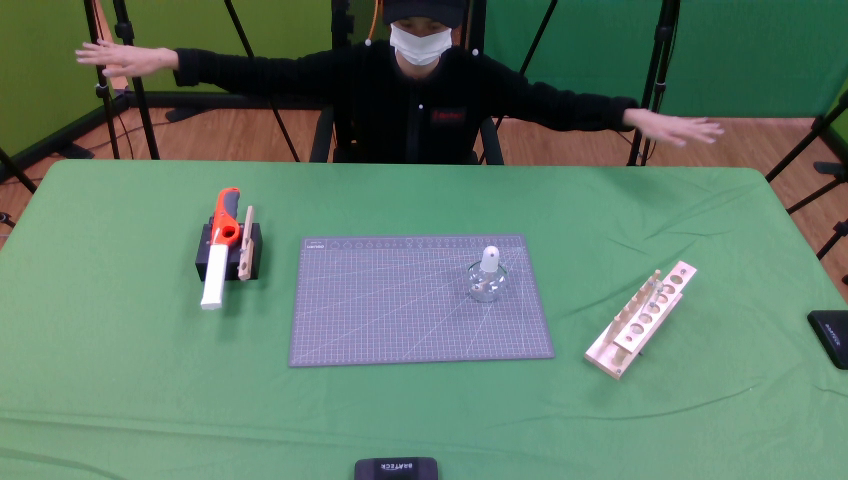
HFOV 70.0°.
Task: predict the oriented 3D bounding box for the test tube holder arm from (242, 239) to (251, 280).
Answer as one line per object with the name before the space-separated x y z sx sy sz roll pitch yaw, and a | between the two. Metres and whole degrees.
test tube holder arm | -0.314 0.034 1.077 0.010 0.015 0.087 -6 47 -6

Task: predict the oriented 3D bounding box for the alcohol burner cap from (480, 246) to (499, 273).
alcohol burner cap | 0.117 0.032 1.060 0.034 0.048 0.033 3 42 -3

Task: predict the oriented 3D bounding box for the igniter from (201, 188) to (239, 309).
igniter | -0.367 0.006 1.095 0.057 0.025 0.274 -2 49 -6

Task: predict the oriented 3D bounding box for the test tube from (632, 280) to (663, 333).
test tube | 0.363 0.121 0.997 0.017 0.151 0.017 2 44 -1

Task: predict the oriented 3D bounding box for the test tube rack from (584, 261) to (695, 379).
test tube rack | 0.380 0.127 1.062 0.066 0.085 0.242 34 53 26

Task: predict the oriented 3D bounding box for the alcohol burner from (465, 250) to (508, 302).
alcohol burner | 0.114 0.057 1.085 0.078 0.120 0.077 2 48 -2

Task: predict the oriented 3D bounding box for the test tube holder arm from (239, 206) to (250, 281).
test tube holder arm | -0.327 0.002 1.106 0.013 0.015 0.177 -7 47 -7
